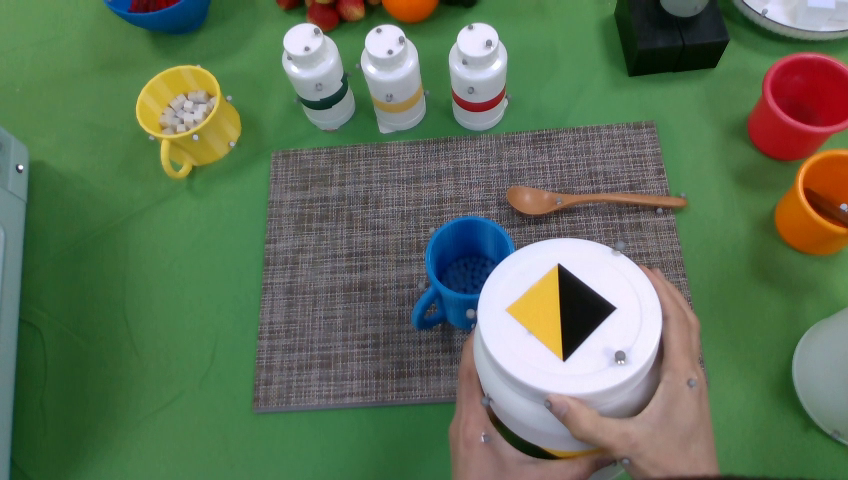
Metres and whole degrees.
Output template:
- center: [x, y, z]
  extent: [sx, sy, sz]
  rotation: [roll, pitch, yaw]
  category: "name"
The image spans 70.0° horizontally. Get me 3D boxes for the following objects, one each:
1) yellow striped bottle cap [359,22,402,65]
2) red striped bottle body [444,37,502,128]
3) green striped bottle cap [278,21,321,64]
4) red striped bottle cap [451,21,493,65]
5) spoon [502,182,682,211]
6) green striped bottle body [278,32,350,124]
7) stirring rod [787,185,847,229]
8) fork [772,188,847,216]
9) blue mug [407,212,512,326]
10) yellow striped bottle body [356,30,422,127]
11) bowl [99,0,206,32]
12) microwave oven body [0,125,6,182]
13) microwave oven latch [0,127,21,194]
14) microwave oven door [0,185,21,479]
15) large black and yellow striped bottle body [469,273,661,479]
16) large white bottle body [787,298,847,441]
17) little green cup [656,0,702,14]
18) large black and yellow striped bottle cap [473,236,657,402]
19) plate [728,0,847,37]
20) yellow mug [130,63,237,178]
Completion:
- center: [-0.045, -0.205, 0.633]
  extent: [0.044, 0.019, 0.044]
  rotation: [0, 65, 1]
  category: "yellow striped bottle cap"
- center: [0.055, -0.183, 0.672]
  extent: [0.063, 0.120, 0.062]
  rotation: [-2, 67, 5]
  category: "red striped bottle body"
- center: [-0.132, -0.210, 0.643]
  extent: [0.044, 0.020, 0.044]
  rotation: [-1, 67, 3]
  category: "green striped bottle cap"
- center: [0.050, -0.203, 0.623]
  extent: [0.044, 0.018, 0.044]
  rotation: [0, 66, 1]
  category: "red striped bottle cap"
- center: [0.181, -0.047, 0.654]
  extent: [0.193, 0.022, 0.041]
  rotation: [0, 47, 5]
  category: "spoon"
- center: [-0.126, -0.190, 0.691]
  extent: [0.063, 0.120, 0.062]
  rotation: [-2, 68, 4]
  category: "green striped bottle body"
- center: [0.391, -0.020, 0.567]
  extent: [0.014, 0.006, 0.175]
  rotation: [-1, 25, 2]
  category: "stirring rod"
- center: [0.420, -0.021, 0.557]
  extent: [0.028, 0.019, 0.205]
  rotation: [-30, 24, -15]
  category: "fork"
- center: [0.030, 0.041, 0.588]
  extent: [0.116, 0.106, 0.082]
  rotation: [-39, 69, -10]
  category: "blue mug"
- center: [-0.039, -0.186, 0.681]
  extent: [0.063, 0.121, 0.062]
  rotation: [-2, 67, 5]
  category: "yellow striped bottle body"
- center: [-0.339, -0.328, 0.788]
  extent: [0.151, 0.077, 0.150]
  rotation: [-2, 68, 4]
  category: "bowl"
- center: [-0.612, 0.064, 0.553]
  extent: [0.326, 0.262, 0.438]
  rotation: [-13, 68, 0]
  category: "microwave oven body"
- center: [-0.494, -0.091, 0.709]
  extent: [0.030, 0.030, 0.078]
  rotation: [-11, 68, 0]
  category: "microwave oven latch"
- center: [-0.462, 0.069, 0.533]
  extent: [0.039, 0.245, 0.353]
  rotation: [-13, 67, 1]
  category: "microwave oven door"
- center: [0.104, 0.095, 0.458]
  extent: [0.130, 0.186, 0.129]
  rotation: [-6, 53, 8]
  category: "large black and yellow striped bottle body"
- center: [0.402, 0.095, 0.493]
  extent: [0.130, 0.186, 0.129]
  rotation: [-2, 67, 5]
  category: "large white bottle body"
- center: [0.291, -0.288, 0.681]
  extent: [0.061, 0.039, 0.061]
  rotation: [-1, 66, 3]
  category: "little green cup"
- center: [0.089, 0.047, 0.391]
  extent: [0.115, 0.019, 0.114]
  rotation: [-6, 53, 9]
  category: "large black and yellow striped bottle cap"
- center: [0.457, -0.327, 0.737]
  extent: [0.209, 0.038, 0.207]
  rotation: [-2, 69, 5]
  category: "plate"
- center: [-0.285, -0.135, 0.713]
  extent: [0.100, 0.064, 0.130]
  rotation: [5, 69, 7]
  category: "yellow mug"
